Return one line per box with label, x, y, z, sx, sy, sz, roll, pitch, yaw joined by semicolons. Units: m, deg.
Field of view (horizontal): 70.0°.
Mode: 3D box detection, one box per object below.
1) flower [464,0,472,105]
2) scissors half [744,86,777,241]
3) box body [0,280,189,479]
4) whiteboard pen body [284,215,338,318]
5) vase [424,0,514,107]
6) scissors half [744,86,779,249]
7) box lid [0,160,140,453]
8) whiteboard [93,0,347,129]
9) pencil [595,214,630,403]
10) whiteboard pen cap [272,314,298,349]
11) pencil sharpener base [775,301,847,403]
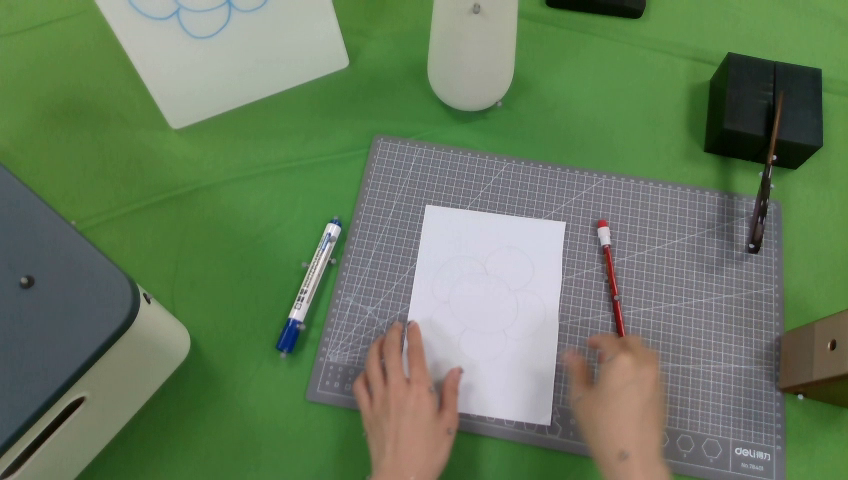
flower;0.042;-0.270;0.547;0.044;0.365;0.038;3;51;5
scissors half;0.343;-0.081;0.609;0.013;0.040;0.174;11;71;24
box body;-0.427;0.058;0.529;0.362;0.161;0.253;36;73;12
whiteboard pen body;-0.118;0.037;0.614;0.017;0.017;0.140;17;68;7
vase;0.047;-0.226;0.619;0.098;0.201;0.097;0;67;1
scissors half;0.352;-0.076;0.627;0.012;0.040;0.175;10;88;29
box lid;-0.429;0.029;0.460;0.370;0.015;0.263;36;73;12
whiteboard;-0.236;-0.310;0.626;0.217;0.308;0.142;-23;51;-8
pencil;0.190;0.064;0.608;0.012;0.012;0.192;-3;71;-1
whiteboard pen cap;-0.134;0.089;0.592;0.018;0.018;0.033;16;65;6
pencil sharpener base;0.381;0.104;0.542;0.076;0.107;0.061;14;69;2
